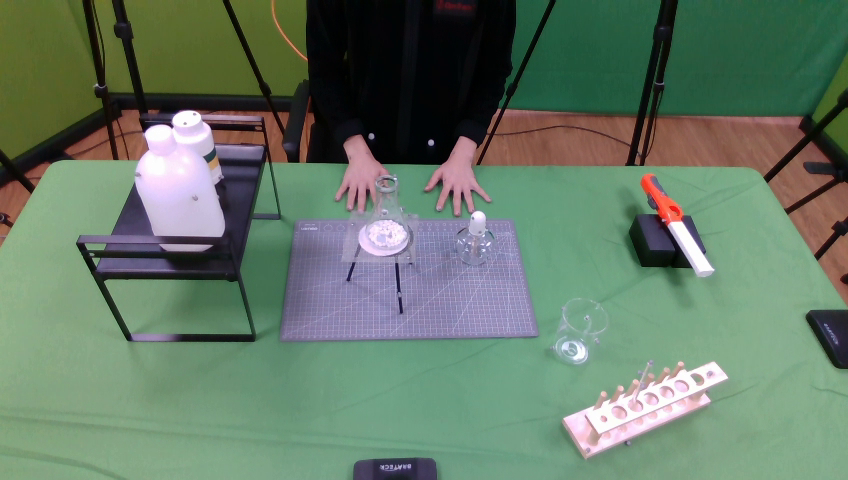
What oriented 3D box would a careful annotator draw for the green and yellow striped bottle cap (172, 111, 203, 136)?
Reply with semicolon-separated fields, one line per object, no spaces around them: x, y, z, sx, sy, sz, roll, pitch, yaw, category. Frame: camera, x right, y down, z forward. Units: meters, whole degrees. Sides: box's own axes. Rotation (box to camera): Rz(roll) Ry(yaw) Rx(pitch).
-0.374;-0.185;0.958;0.045;0.020;0.045;3;46;-3;green and yellow striped bottle cap

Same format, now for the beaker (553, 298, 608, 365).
0.260;0.154;1.015;0.073;0.101;0.084;37;54;27;beaker

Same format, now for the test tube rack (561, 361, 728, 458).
0.341;0.248;0.940;0.243;0.085;0.066;-15;49;-18;test tube rack

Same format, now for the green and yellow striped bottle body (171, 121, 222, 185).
-0.375;-0.149;0.995;0.063;0.120;0.063;2;46;-2;green and yellow striped bottle body

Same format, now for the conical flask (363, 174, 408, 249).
-0.063;-0.049;0.985;0.075;0.122;0.075;2;46;-1;conical flask

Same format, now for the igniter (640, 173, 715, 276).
0.495;-0.039;1.204;0.057;0.025;0.274;-2;47;-12;igniter

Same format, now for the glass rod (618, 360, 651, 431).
0.298;0.227;0.865;0.008;0.201;0.008;-1;48;2;glass rod

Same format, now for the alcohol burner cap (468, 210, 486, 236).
0.099;-0.034;1.119;0.034;0.048;0.033;0;52;0;alcohol burner cap

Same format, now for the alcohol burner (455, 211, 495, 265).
0.097;-0.010;1.147;0.078;0.120;0.077;1;47;0;alcohol burner

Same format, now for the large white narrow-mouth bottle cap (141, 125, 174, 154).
-0.356;-0.134;0.810;0.038;0.024;0.037;2;48;-2;large white narrow-mouth bottle cap

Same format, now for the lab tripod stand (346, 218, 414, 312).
-0.070;0.037;1.075;0.148;0.132;0.147;1;47;-1;lab tripod stand

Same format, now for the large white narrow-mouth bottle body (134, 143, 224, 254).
-0.358;-0.075;0.875;0.102;0.195;0.101;1;48;-1;large white narrow-mouth bottle body

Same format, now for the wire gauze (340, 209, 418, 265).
-0.074;-0.006;1.024;0.121;0.011;0.124;2;48;1;wire gauze
